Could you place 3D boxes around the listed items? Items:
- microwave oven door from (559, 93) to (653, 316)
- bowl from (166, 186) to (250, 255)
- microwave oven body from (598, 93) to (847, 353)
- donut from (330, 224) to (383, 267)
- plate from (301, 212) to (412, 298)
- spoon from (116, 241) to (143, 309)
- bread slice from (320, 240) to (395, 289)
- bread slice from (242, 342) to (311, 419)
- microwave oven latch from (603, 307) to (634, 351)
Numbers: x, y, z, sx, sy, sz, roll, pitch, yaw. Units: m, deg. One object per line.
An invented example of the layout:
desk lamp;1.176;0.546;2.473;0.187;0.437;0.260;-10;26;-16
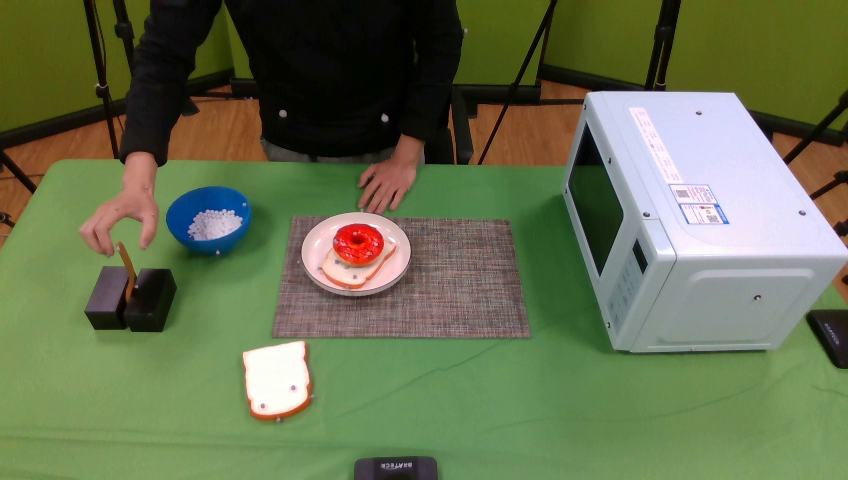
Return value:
microwave oven door;0.327;-0.074;1.123;0.039;0.245;0.353;-1;46;-5
bowl;-0.403;-0.024;1.154;0.151;0.077;0.150;2;46;-2
microwave oven body;0.475;-0.041;1.109;0.326;0.261;0.438;-1;45;-4
donut;-0.125;0.010;1.127;0.099;0.048;0.098;3;45;-3
plate;-0.126;0.031;1.145;0.208;0.039;0.206;2;46;-2
spoon;-0.479;0.057;0.988;0.022;0.194;0.041;13;53;-11
bread slice;-0.129;0.037;1.141;0.107;0.018;0.134;19;47;14
bread slice;-0.234;0.223;0.970;0.105;0.019;0.130;-10;46;-12
microwave oven latch;0.332;0.153;1.044;0.030;0.029;0.078;0;45;-4
